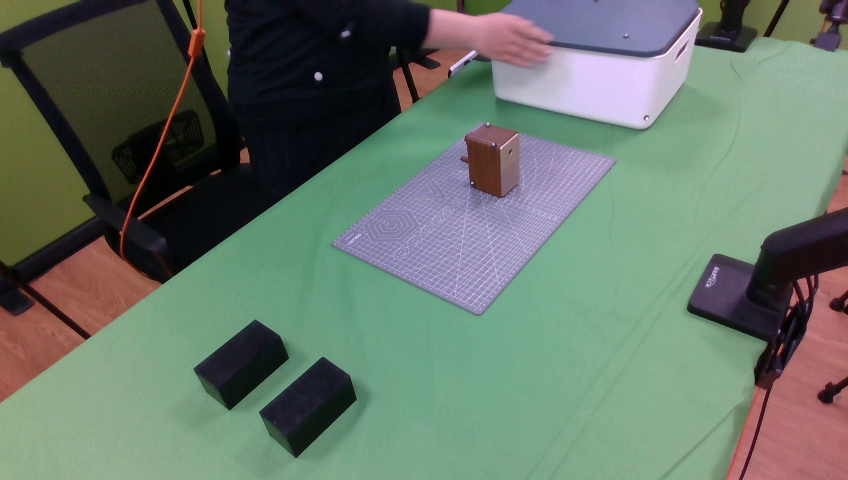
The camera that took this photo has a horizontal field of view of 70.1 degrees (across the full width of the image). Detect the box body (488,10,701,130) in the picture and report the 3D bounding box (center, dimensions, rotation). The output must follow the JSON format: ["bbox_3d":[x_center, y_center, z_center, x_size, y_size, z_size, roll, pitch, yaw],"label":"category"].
[{"bbox_3d":[0.345,-0.379,1.257,0.361,0.161,0.255,20,48,29],"label":"box body"}]

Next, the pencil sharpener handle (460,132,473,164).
[{"bbox_3d":[0.077,-0.163,1.062,0.030,0.068,0.036,23,43,32],"label":"pencil sharpener handle"}]

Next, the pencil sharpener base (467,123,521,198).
[{"bbox_3d":[0.119,-0.138,1.044,0.076,0.107,0.061,23,50,32],"label":"pencil sharpener base"}]

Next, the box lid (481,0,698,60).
[{"bbox_3d":[0.328,-0.438,1.206,0.369,0.015,0.264,19,48,29],"label":"box lid"}]
